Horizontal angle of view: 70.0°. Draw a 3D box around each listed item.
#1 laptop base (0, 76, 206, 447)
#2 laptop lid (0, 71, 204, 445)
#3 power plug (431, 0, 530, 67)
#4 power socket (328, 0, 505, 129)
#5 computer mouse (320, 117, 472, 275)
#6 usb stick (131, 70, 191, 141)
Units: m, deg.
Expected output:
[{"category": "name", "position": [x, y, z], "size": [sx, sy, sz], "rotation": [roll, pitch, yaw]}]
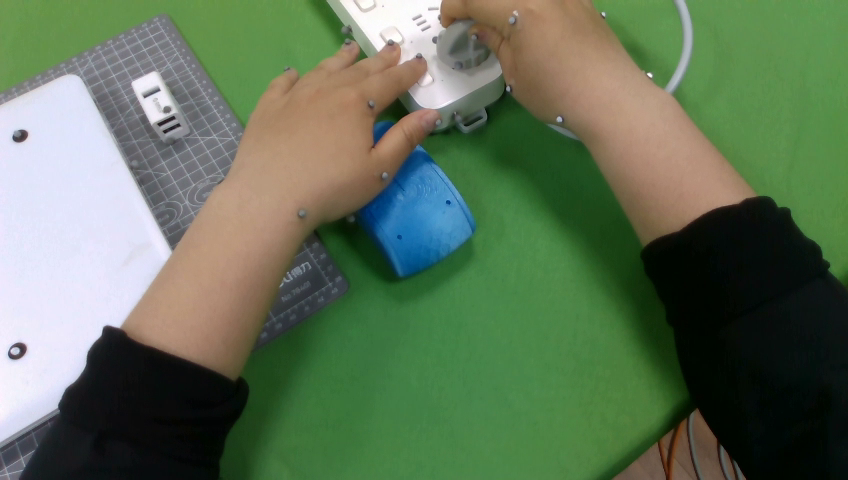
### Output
[{"category": "laptop base", "position": [-0.339, 0.054, 0.382], "size": [0.354, 0.023, 0.234], "rotation": [-32, 70, -12]}, {"category": "laptop lid", "position": [-0.339, 0.050, 0.371], "size": [0.357, 0.013, 0.239], "rotation": [-30, 69, -11]}, {"category": "power plug", "position": [0.041, -0.138, 0.423], "size": [0.073, 0.053, 0.035], "rotation": [-9, 60, -16]}, {"category": "power socket", "position": [-0.021, -0.175, 0.463], "size": [0.072, 0.033, 0.225], "rotation": [-30, 67, -10]}, {"category": "computer mouse", "position": [-0.021, -0.034, 0.395], "size": [0.063, 0.041, 0.116], "rotation": [-30, 62, -7]}, {"category": "usb stick", "position": [-0.193, -0.103, 0.440], "size": [0.021, 0.027, 0.058], "rotation": [-31, 64, -8]}]
